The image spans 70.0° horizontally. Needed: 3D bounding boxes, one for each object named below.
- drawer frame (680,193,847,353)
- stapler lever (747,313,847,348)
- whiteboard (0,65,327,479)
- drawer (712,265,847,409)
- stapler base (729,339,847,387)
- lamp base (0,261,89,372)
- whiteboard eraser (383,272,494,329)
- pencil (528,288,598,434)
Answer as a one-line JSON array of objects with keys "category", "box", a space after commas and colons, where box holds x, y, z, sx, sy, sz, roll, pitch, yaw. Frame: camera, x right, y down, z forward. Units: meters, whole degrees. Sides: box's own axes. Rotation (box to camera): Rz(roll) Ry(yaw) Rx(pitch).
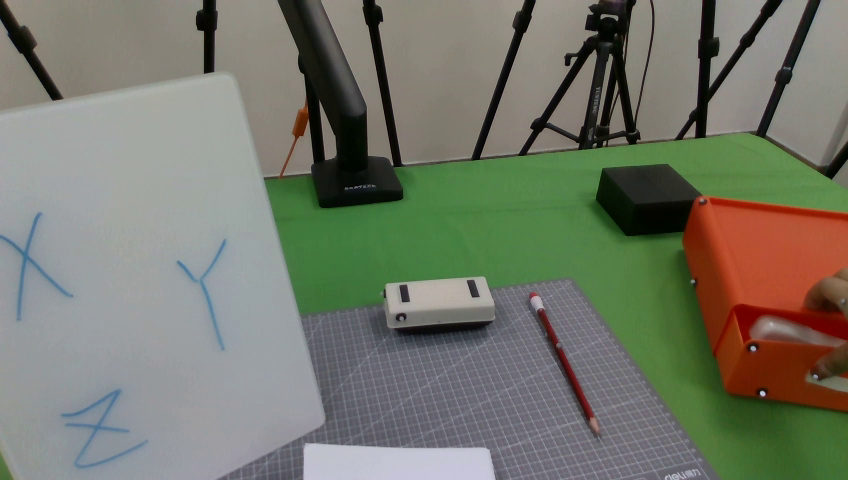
[{"category": "drawer frame", "box": [0.406, 0.042, 0.665, 0.201, 0.083, 0.212, 7, 34, 7]}, {"category": "stapler lever", "box": [0.374, 0.097, 0.580, 0.118, 0.040, 0.026, 7, 37, 11]}, {"category": "whiteboard", "box": [-0.233, 0.037, 0.483, 0.218, 0.307, 0.142, -21, 21, -28]}, {"category": "drawer", "box": [0.397, 0.072, 0.625, 0.194, 0.074, 0.210, 7, 34, 8]}, {"category": "stapler base", "box": [0.372, 0.116, 0.593, 0.130, 0.024, 0.041, 9, 37, 9]}, {"category": "lamp base", "box": [-0.434, 0.011, 0.566, 0.178, 0.182, 0.160, 16, 37, 22]}, {"category": "whiteboard eraser", "box": [0.014, 0.064, 0.638, 0.113, 0.042, 0.055, -3, 36, -8]}, {"category": "pencil", "box": [0.137, 0.113, 0.606, 0.012, 0.012, 0.192, -4, 37, -9]}]
